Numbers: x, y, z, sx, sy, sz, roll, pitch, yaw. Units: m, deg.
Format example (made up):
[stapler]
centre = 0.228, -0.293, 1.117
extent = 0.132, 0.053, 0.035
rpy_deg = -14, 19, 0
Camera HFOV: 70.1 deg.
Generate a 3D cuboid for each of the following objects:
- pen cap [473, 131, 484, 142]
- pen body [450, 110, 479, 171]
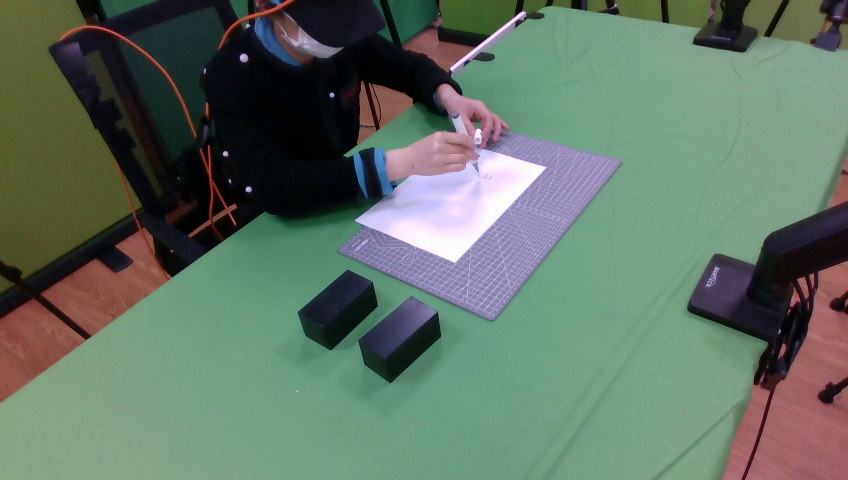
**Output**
[pen cap]
centre = 0.104, -0.195, 1.142
extent = 0.017, 0.017, 0.038
rpy_deg = 5, 23, 15
[pen body]
centre = 0.073, -0.166, 1.038
extent = 0.017, 0.145, 0.017
rpy_deg = -12, 51, 16
